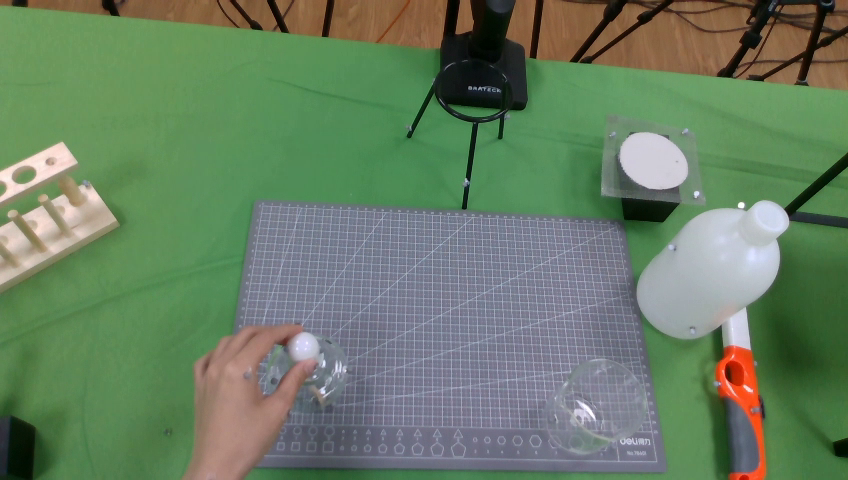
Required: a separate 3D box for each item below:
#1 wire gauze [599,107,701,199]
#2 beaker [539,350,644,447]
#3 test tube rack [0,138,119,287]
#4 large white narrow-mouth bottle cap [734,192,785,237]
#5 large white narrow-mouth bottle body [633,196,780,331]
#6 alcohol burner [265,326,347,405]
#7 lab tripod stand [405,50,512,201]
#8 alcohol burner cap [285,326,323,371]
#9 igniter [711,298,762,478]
[{"bbox_3d":[0.275,-0.106,0.742,0.121,0.011,0.124,10,61,-2],"label":"wire gauze"},{"bbox_3d":[0.155,0.158,0.589,0.084,0.101,0.073,0,62,-6],"label":"beaker"},{"bbox_3d":[-0.451,0.001,0.609,0.242,0.086,0.066,-35,72,-22],"label":"test tube rack"},{"bbox_3d":[0.306,-0.024,0.555,0.038,0.024,0.037,3,62,-5],"label":"large white narrow-mouth bottle cap"},{"bbox_3d":[0.299,0.018,0.629,0.102,0.196,0.101,3,61,-4],"label":"large white narrow-mouth bottle body"},{"bbox_3d":[-0.112,0.113,0.572,0.078,0.120,0.077,4,60,-7],"label":"alcohol burner"},{"bbox_3d":[0.048,-0.141,0.718,0.149,0.132,0.147,4,63,-7],"label":"lab tripod stand"},{"bbox_3d":[-0.108,0.094,0.535,0.034,0.048,0.033,2,62,-3],"label":"alcohol burner cap"},{"bbox_3d":[0.344,0.122,0.674,0.057,0.025,0.274,17,61,-12],"label":"igniter"}]
